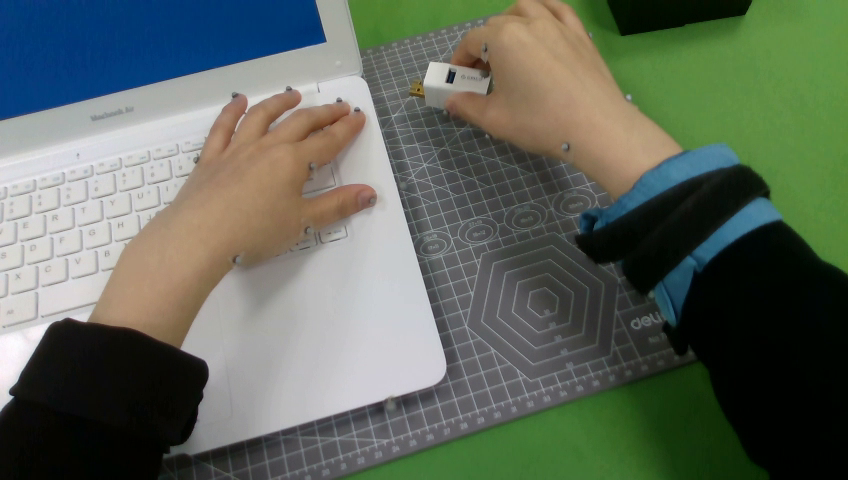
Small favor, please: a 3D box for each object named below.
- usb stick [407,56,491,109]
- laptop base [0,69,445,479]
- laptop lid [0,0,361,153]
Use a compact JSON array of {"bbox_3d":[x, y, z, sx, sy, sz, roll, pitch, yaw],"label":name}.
[{"bbox_3d":[0.016,-0.109,0.416,0.059,0.027,0.021,11,68,15],"label":"usb stick"},{"bbox_3d":[-0.184,0.022,0.386,0.354,0.023,0.233,-15,67,-4],"label":"laptop base"},{"bbox_3d":[-0.233,-0.169,0.361,0.357,0.244,0.013,-16,39,-3],"label":"laptop lid"}]
